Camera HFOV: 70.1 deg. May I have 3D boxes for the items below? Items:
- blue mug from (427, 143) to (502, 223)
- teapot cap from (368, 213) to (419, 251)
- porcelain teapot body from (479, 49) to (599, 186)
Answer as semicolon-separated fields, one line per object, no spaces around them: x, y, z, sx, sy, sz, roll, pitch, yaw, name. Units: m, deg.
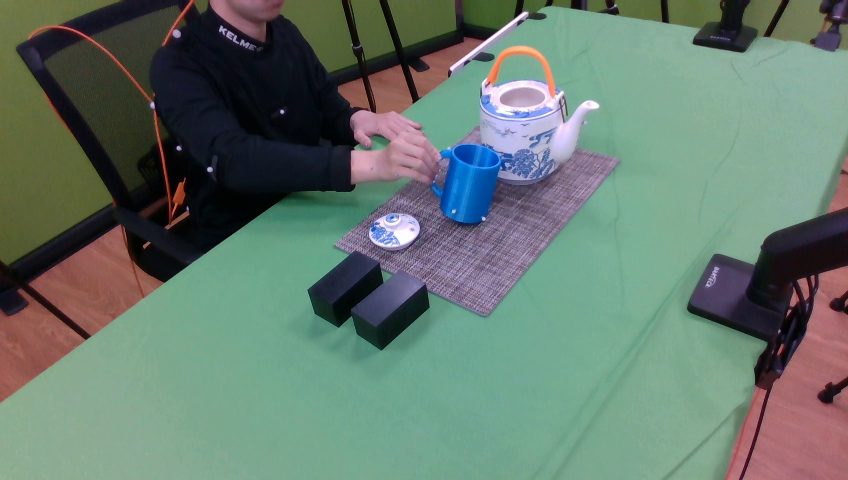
0.059;-0.098;0.987;0.116;0.106;0.082;20;37;12;blue mug
-0.050;-0.019;0.975;0.085;0.044;0.085;-4;43;4;teapot cap
0.192;-0.208;1.023;0.204;0.226;0.145;17;46;25;porcelain teapot body
